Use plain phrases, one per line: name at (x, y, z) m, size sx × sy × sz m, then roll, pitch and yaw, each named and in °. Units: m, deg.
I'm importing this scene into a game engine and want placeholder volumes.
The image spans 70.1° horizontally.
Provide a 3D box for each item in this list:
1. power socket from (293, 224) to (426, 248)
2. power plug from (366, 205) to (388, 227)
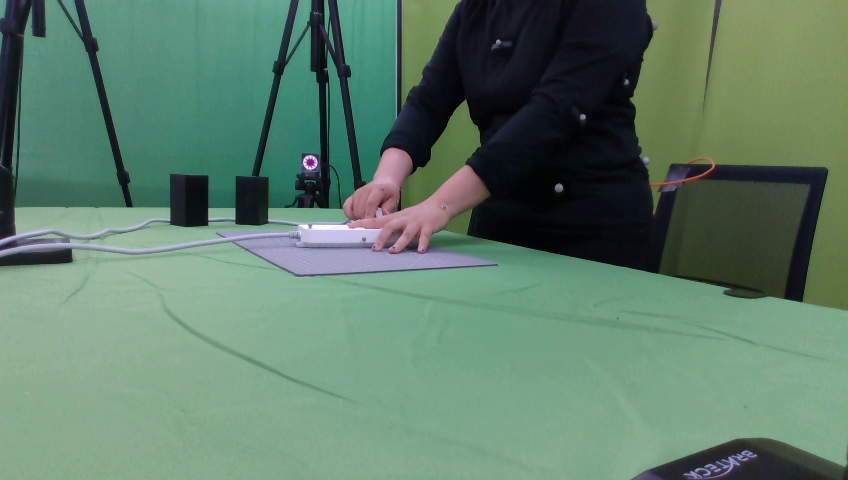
power socket at (-0.103, -0.008, 1.002) m, size 0.228 × 0.032 × 0.072 m, roll -1°, pitch 7°, yaw -23°
power plug at (-0.082, -0.033, 1.038) m, size 0.035 × 0.052 × 0.072 m, roll 2°, pitch 6°, yaw -10°
